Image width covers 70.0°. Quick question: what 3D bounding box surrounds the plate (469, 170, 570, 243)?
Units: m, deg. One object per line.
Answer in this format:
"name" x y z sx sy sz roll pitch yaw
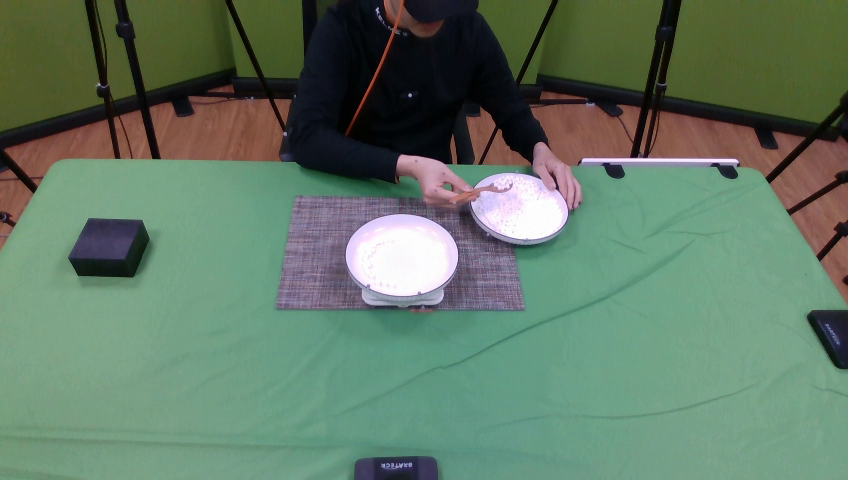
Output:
"plate" 0.196 -0.066 1.258 0.209 0.038 0.208 3 46 -3

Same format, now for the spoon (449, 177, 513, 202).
"spoon" 0.113 -0.101 1.208 0.041 0.022 0.194 37 35 30

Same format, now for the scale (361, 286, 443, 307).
"scale" -0.042 0.040 1.143 0.149 0.032 0.199 0 46 -4

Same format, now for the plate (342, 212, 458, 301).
"plate" -0.043 0.033 1.105 0.208 0.039 0.206 2 46 -2
